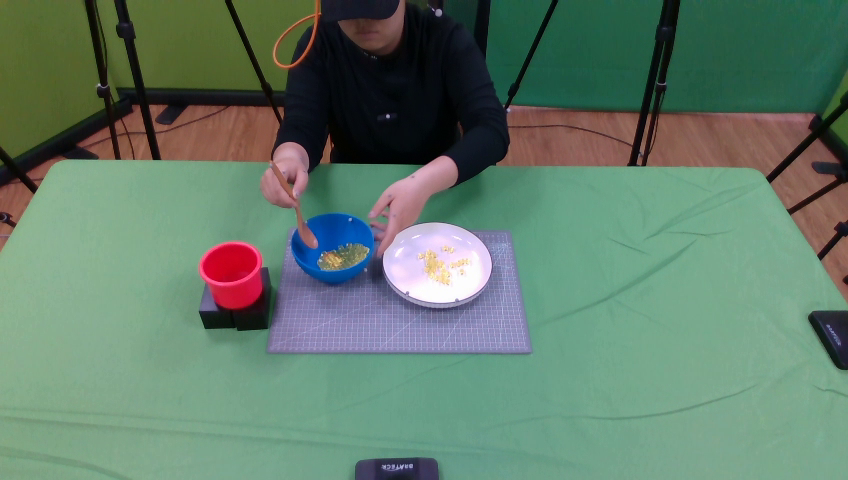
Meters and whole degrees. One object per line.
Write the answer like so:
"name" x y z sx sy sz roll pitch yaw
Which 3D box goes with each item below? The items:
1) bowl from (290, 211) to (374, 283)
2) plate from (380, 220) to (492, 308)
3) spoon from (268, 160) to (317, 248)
"bowl" -0.167 0.026 1.117 0.151 0.077 0.150 2 46 -2
"plate" 0.022 0.048 1.137 0.208 0.039 0.206 2 46 -2
"spoon" -0.223 -0.060 1.040 0.021 0.195 0.041 -7 41 9
